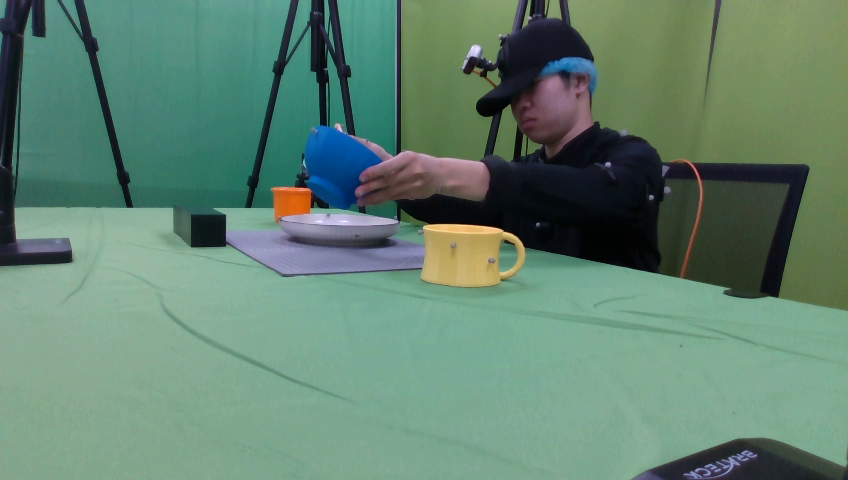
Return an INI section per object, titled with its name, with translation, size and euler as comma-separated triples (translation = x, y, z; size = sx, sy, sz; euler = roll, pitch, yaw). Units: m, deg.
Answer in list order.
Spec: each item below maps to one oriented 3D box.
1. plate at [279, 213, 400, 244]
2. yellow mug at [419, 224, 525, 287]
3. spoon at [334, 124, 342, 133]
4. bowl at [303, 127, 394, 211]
[plate]
translation = -0.147, -0.020, 1.060
size = 0.209, 0.038, 0.209
euler = 3, 7, 0
[yellow mug]
translation = 0.060, 0.018, 0.746
size = 0.131, 0.064, 0.100
euler = 3, 7, -7
[spoon]
translation = -0.143, -0.172, 1.103
size = 0.042, 0.021, 0.193
euler = -8, 31, -17
[bowl]
translation = -0.130, -0.097, 0.932
size = 0.151, 0.077, 0.151
euler = 27, -15, 8
